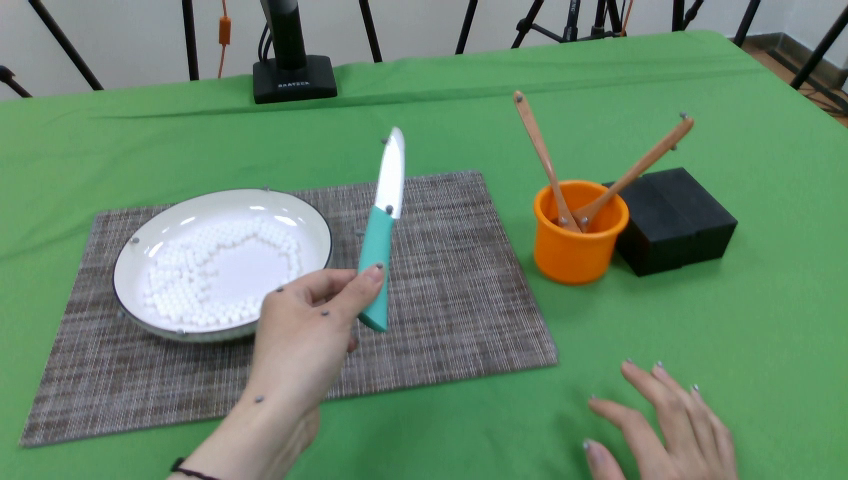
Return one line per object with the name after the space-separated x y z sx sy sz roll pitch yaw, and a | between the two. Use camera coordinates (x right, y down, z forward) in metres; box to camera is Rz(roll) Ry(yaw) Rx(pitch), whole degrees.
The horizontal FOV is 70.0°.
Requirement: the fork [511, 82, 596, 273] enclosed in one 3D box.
0.129 -0.065 0.616 0.028 0.018 0.207 -21 91 -5 | fork

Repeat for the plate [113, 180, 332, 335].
-0.195 0.016 0.607 0.209 0.038 0.207 0 43 0 | plate

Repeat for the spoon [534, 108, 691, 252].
0.186 -0.058 0.603 0.041 0.194 0.021 49 23 8 | spoon

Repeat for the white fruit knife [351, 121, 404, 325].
-0.034 -0.025 0.491 0.027 0.016 0.205 9 54 -4 | white fruit knife
